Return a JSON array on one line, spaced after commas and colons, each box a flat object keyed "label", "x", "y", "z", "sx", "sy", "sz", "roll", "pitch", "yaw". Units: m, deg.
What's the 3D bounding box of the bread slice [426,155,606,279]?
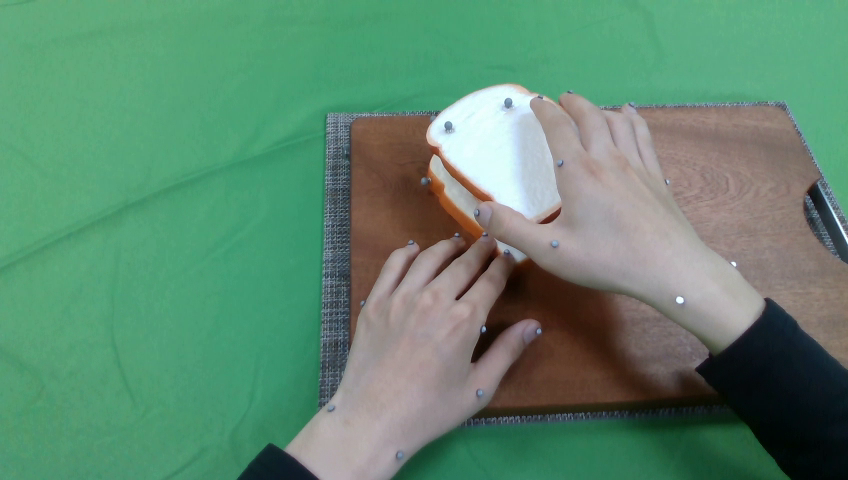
[{"label": "bread slice", "x": 0.065, "y": -0.041, "z": 0.489, "sx": 0.105, "sy": 0.019, "sz": 0.130, "roll": -34, "pitch": 64, "yaw": -23}]

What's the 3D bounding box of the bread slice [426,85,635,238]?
[{"label": "bread slice", "x": 0.067, "y": -0.066, "z": 0.450, "sx": 0.107, "sy": 0.018, "sz": 0.133, "roll": -38, "pitch": 57, "yaw": -20}]
